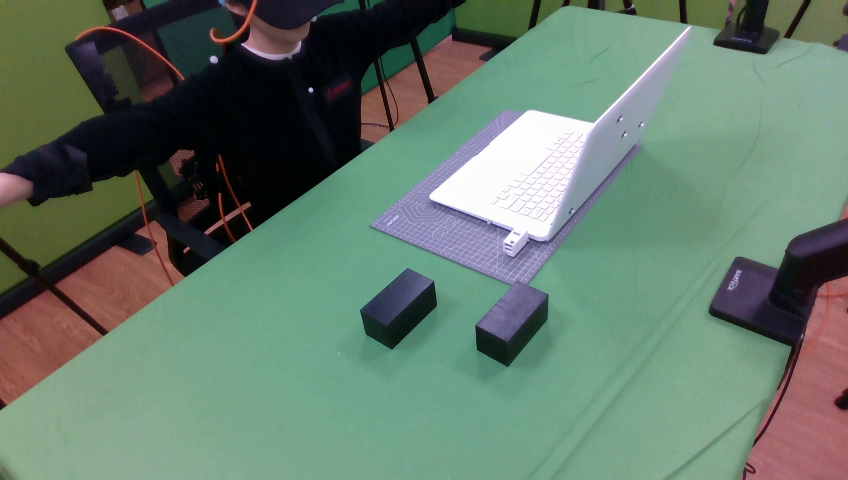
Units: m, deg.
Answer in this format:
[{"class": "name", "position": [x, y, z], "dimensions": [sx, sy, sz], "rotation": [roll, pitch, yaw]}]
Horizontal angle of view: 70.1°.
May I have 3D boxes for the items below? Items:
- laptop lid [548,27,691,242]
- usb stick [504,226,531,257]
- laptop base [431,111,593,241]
[{"class": "laptop lid", "position": [0.310, -0.168, 0.950], "dimensions": [0.013, 0.242, 0.358], "rotation": [33, 52, 20]}, {"class": "usb stick", "position": [0.149, -0.002, 0.940], "dimensions": [0.021, 0.027, 0.059], "rotation": [22, 46, 32]}, {"class": "laptop base", "position": [0.207, -0.129, 1.100], "dimensions": [0.233, 0.023, 0.355], "rotation": [20, 47, 33]}]
